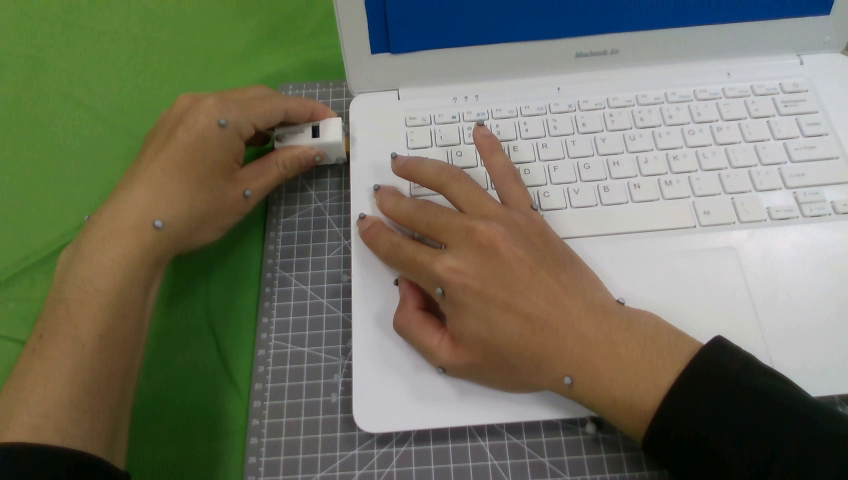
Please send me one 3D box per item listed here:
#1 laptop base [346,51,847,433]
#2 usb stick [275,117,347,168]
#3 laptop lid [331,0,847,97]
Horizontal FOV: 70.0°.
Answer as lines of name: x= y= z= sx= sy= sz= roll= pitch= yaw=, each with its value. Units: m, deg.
laptop base: x=0.129 y=-0.012 z=0.379 sx=0.354 sy=0.023 sz=0.233 roll=-5 pitch=64 yaw=0
usb stick: x=-0.068 y=-0.065 z=0.404 sx=0.059 sy=0.027 sz=0.021 roll=-5 pitch=59 yaw=-6
laptop lid: x=0.112 y=-0.205 z=0.358 sx=0.357 sy=0.244 sz=0.013 roll=-6 pitch=40 yaw=1
